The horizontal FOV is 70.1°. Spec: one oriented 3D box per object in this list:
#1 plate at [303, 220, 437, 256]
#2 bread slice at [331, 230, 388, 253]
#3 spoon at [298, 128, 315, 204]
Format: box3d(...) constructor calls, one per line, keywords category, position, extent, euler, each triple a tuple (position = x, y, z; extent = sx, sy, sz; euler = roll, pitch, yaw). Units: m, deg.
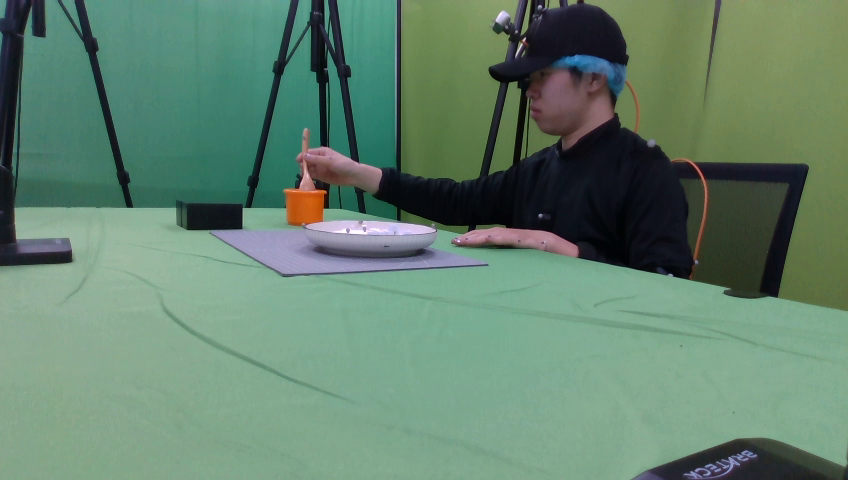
box3d(category="plate", position=(-0.084, -0.003, 0.951), extent=(0.209, 0.038, 0.209), euler=(3, 7, 0))
box3d(category="bread slice", position=(-0.088, 0.000, 0.947), extent=(0.105, 0.019, 0.131), euler=(-4, 11, -44))
box3d(category="spoon", position=(-0.259, -0.165, 1.319), extent=(0.042, 0.193, 0.021), euler=(16, -37, -38))
